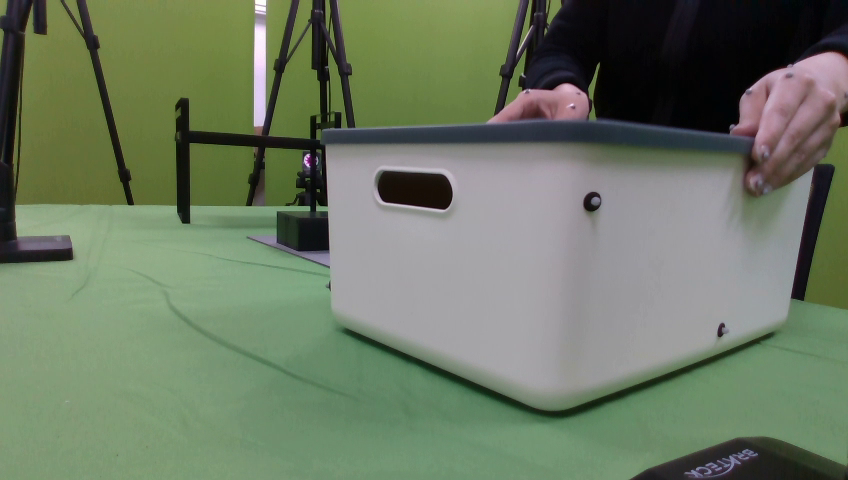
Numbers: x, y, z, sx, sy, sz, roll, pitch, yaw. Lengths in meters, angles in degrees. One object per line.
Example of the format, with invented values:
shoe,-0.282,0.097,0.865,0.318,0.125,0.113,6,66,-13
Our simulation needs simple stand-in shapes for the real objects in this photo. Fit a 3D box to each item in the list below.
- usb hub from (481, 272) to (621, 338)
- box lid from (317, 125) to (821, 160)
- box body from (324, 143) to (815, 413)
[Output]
usb hub,0.112,0.053,0.526,0.126,0.025,0.049,-10,15,-34
box lid,0.129,-0.075,0.501,0.374,0.015,0.262,-5,10,-40
box body,0.125,-0.001,0.510,0.366,0.160,0.253,-4,10,-41
